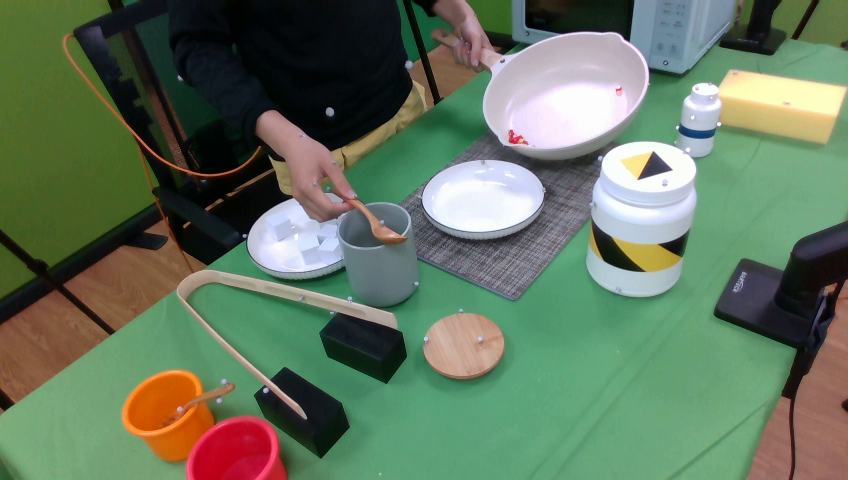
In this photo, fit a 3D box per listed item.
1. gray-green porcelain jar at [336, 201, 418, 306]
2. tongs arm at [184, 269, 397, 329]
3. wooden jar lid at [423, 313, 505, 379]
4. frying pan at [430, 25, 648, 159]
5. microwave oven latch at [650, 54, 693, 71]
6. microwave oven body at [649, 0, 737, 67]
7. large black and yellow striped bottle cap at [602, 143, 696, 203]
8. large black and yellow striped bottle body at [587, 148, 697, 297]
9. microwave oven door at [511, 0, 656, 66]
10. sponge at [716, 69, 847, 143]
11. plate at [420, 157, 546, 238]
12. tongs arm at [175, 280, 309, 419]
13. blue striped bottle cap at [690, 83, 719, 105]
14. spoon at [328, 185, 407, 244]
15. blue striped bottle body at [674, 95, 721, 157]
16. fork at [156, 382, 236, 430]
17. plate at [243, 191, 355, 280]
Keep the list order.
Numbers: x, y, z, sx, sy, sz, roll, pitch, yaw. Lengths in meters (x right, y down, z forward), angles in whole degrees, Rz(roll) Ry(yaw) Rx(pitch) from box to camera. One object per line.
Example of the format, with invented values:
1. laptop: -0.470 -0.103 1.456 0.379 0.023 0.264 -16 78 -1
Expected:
1. gray-green porcelain jar: -0.064 0.024 0.872 0.106 0.127 0.105 -4 41 4
2. tongs arm: -0.203 0.085 0.847 0.382 0.027 0.051 11 45 35
3. wooden jar lid: 0.053 0.142 0.800 0.108 0.021 0.108 -5 39 4
4. frying pan: 0.186 -0.315 1.151 0.307 0.103 0.484 -44 59 -12
5. microwave oven latch: 0.531 -0.386 1.301 0.078 0.029 0.030 26 51 33
6. microwave oven body: 0.475 -0.602 1.411 0.438 0.261 0.327 23 50 32
7. large black and yellow striped bottle cap: 0.289 -0.088 0.779 0.115 0.019 0.114 -5 39 4
8. large black and yellow striped bottle body: 0.298 -0.026 0.834 0.131 0.185 0.130 -4 41 4
9. microwave oven door: 0.351 -0.539 1.349 0.353 0.245 0.039 24 50 31
10. sponge: 0.663 -0.256 1.142 0.205 0.061 0.118 19 47 28
11. plate: 0.099 -0.067 1.017 0.209 0.038 0.208 -4 40 4
12. tongs arm: -0.254 0.133 0.801 0.028 0.028 0.384 -41 41 -23
13. blue striped bottle cap: 0.481 -0.251 1.038 0.044 0.021 0.044 -5 40 5
14. spoon: -0.084 -0.039 0.836 0.042 0.021 0.192 -3 31 -37
15. blue striped bottle body: 0.486 -0.213 1.071 0.063 0.121 0.063 -4 41 4
16. fork: -0.262 0.189 0.690 0.018 0.206 0.028 49 43 -6
17. plate: -0.188 -0.005 0.992 0.207 0.039 0.206 -4 40 4
